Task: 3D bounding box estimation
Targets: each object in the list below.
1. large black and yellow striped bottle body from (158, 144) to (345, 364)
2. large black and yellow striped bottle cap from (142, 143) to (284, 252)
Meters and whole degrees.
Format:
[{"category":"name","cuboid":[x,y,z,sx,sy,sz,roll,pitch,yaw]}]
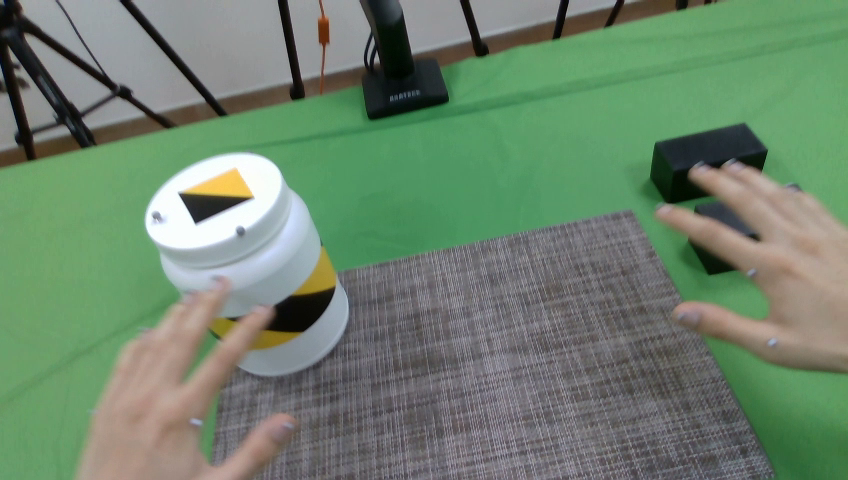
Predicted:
[{"category":"large black and yellow striped bottle body","cuboid":[-0.158,0.016,0.560,0.130,0.186,0.129,-6,48,7]},{"category":"large black and yellow striped bottle cap","cuboid":[-0.173,-0.038,0.498,0.115,0.019,0.114,-6,47,6]}]
